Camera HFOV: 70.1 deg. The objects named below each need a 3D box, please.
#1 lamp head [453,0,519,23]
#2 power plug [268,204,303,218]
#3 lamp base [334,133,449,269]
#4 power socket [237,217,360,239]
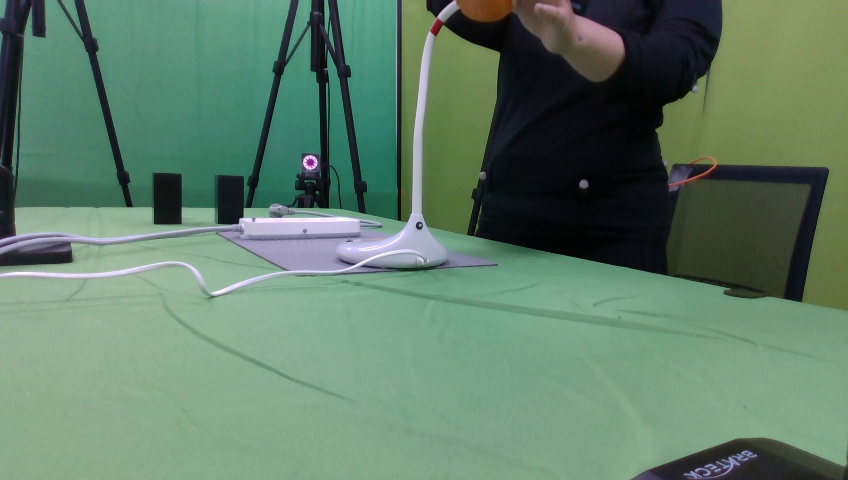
[{"bbox_3d":[0.072,-0.319,0.706,0.112,0.122,0.112,7,-3,1],"label":"lamp head"},{"bbox_3d":[-0.327,-0.060,1.404,0.073,0.035,0.052,22,-14,-26],"label":"power plug"},{"bbox_3d":[-0.034,-0.057,0.831,0.161,0.180,0.178,-2,11,-36],"label":"lamp base"},{"bbox_3d":[-0.221,-0.023,1.080,0.228,0.032,0.072,-2,8,-32],"label":"power socket"}]
